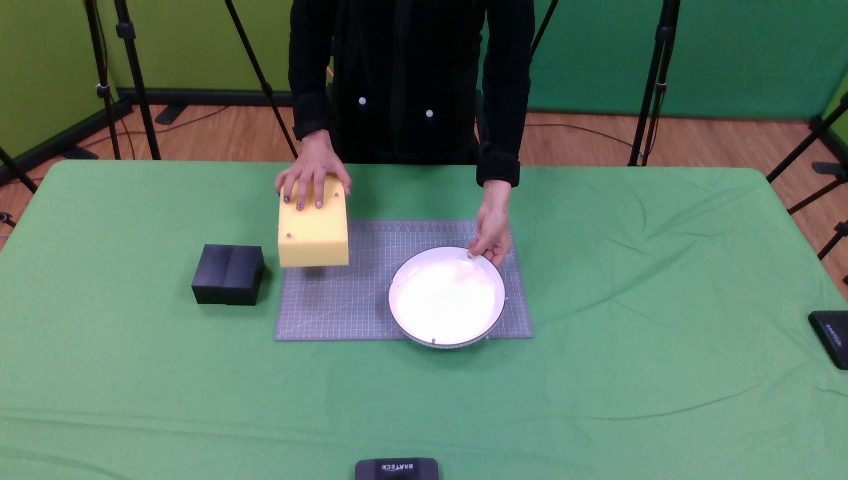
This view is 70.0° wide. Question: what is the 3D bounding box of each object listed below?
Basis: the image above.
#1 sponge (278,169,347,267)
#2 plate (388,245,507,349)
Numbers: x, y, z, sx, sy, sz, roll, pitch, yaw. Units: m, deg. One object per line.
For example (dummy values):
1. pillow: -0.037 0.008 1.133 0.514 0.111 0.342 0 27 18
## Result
1. sponge: -0.204 -0.045 1.114 0.118 0.061 0.205 -3 44 -9
2. plate: 0.040 0.102 1.069 0.209 0.038 0.208 -3 53 4
